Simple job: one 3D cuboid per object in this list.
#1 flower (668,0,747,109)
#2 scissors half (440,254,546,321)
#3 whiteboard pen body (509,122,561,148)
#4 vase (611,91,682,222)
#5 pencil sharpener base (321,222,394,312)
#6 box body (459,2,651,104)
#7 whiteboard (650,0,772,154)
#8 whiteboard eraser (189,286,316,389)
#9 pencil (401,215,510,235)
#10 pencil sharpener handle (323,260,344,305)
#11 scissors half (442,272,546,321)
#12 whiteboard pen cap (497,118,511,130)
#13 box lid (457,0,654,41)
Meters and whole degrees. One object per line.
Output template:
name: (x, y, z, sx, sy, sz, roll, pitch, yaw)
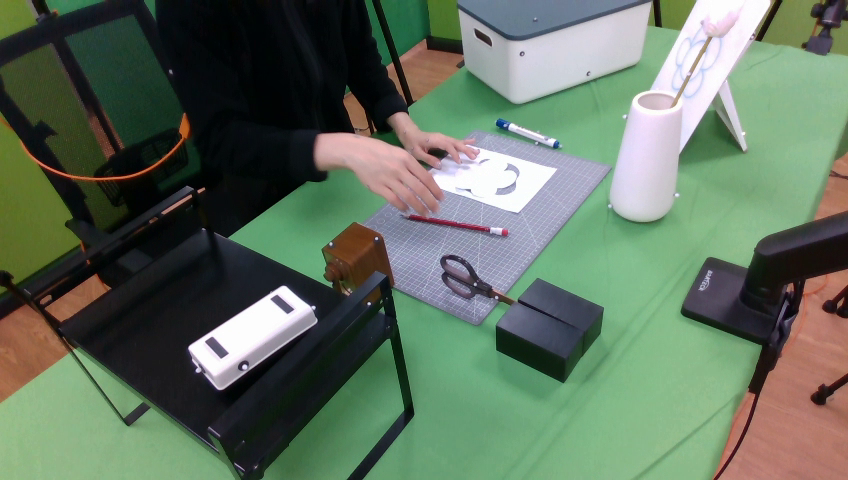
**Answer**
flower: (0.355, -0.187, 0.879, 0.038, 0.362, 0.044, 30, 48, 14)
scissors half: (0.092, 0.065, 0.825, 0.174, 0.040, 0.013, 32, 59, 25)
whiteboard pen body: (0.209, -0.212, 1.196, 0.139, 0.017, 0.017, 30, 53, 33)
vase: (0.348, -0.125, 0.935, 0.098, 0.201, 0.097, -3, 40, 3)
pencil sharpener base: (-0.096, 0.041, 0.873, 0.061, 0.107, 0.077, 25, 53, 32)
box body: (0.291, -0.465, 1.371, 0.365, 0.161, 0.252, -22, 42, -16)
whiteboard: (0.543, -0.298, 1.076, 0.144, 0.305, 0.216, 12, 40, -7)
whiteboard eraser: (-0.166, 0.096, 0.593, 0.113, 0.042, 0.055, -36, 47, -29)
pencil: (0.049, -0.027, 1.006, 0.193, 0.012, 0.012, 10, 43, 21)
pencil sharpener handle: (-0.131, 0.062, 0.839, 0.035, 0.068, 0.031, 29, 55, 27)
scissors half: (0.094, 0.080, 0.838, 0.173, 0.040, 0.013, 19, 47, 39)
whiteboard pen cap: (0.165, -0.235, 1.227, 0.033, 0.018, 0.018, 31, 53, 31)
box lid: (0.285, -0.522, 1.323, 0.373, 0.015, 0.261, -22, 43, -16)
